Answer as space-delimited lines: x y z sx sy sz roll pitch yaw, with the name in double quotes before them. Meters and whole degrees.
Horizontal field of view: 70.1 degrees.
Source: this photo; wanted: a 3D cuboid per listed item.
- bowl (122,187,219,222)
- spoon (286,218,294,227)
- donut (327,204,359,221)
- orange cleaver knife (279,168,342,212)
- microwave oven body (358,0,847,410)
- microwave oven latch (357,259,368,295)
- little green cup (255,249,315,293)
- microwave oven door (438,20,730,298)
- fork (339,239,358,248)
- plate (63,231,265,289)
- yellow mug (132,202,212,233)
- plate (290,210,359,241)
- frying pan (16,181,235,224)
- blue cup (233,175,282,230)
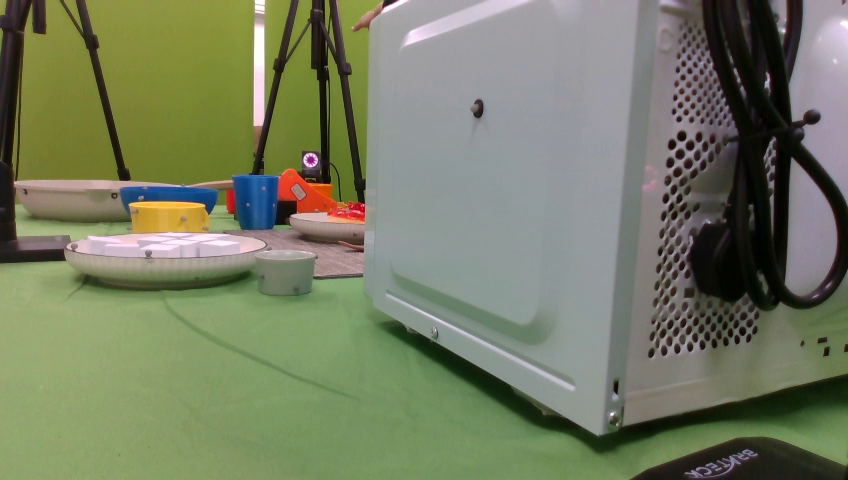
"bowl" -0.421 -0.046 1.012 0.151 0.077 0.151 2 8 0
"spoon" -0.180 -0.036 1.209 0.195 0.021 0.041 -3 -11 -31
"donut" -0.120 -0.037 1.056 0.099 0.048 0.099 5 6 0
"orange cleaver knife" -0.236 -0.083 1.332 0.212 0.077 0.012 31 -10 -31
"microwave oven body" 0.210 -0.051 0.471 0.444 0.260 0.324 -1 7 -28
"microwave oven latch" -0.019 0.031 0.529 0.079 0.029 0.030 -1 7 -26
"little green cup" -0.144 0.032 0.627 0.061 0.038 0.061 2 5 0
"microwave oven door" 0.181 -0.076 0.618 0.358 0.243 0.039 -2 8 -28
"fork" -0.027 0.003 0.925 0.208 0.018 0.028 -2 -2 -19
"plate" -0.288 0.021 0.687 0.208 0.039 0.207 2 8 0
"yellow mug" -0.356 -0.020 0.878 0.099 0.064 0.131 5 8 21
"plate" -0.127 -0.025 1.051 0.209 0.038 0.209 2 7 0
"frying pan" -0.554 -0.097 1.266 0.490 0.102 0.305 -10 13 -24
"blue cup" -0.314 -0.071 1.141 0.093 0.100 0.092 0 7 0
